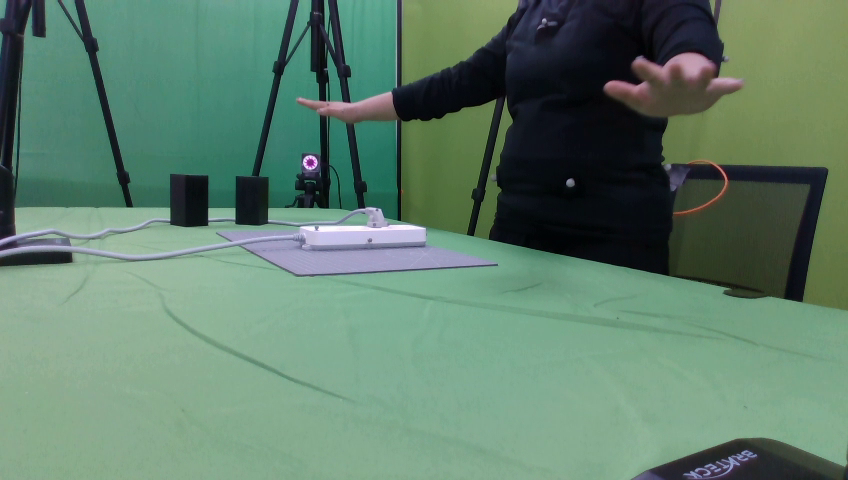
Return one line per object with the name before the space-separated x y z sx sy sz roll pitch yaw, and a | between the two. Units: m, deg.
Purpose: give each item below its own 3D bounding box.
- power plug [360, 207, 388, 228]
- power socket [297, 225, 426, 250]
power plug | -0.085 -0.029 1.032 0.035 0.052 0.072 1 5 -20
power socket | -0.099 -0.006 0.992 0.228 0.032 0.072 -2 8 -31
